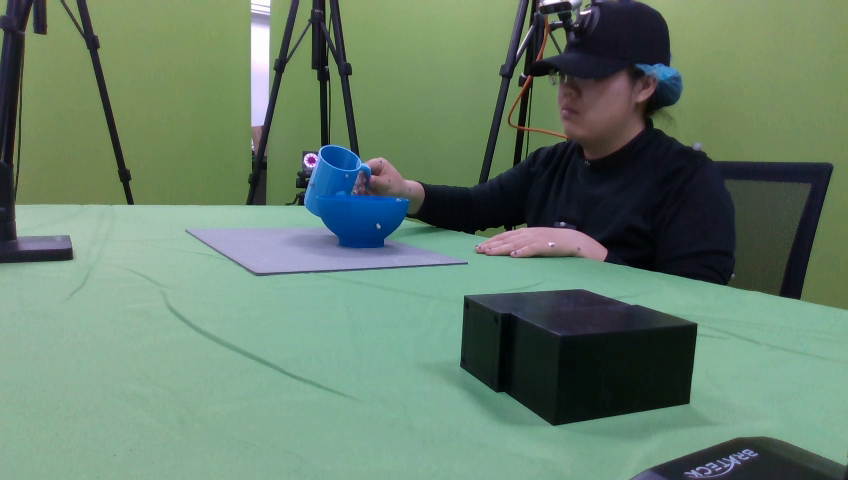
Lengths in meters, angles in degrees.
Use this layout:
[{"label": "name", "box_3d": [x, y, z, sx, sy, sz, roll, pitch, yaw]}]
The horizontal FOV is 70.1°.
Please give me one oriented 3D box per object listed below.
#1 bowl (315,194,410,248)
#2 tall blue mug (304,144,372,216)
[{"label": "bowl", "box_3d": [-0.100, -0.030, 0.971, 0.151, 0.077, 0.151, 2, 7, 0]}, {"label": "tall blue mug", "box_3d": [-0.154, -0.107, 1.076, 0.077, 0.108, 0.107, 35, 35, 14]}]
